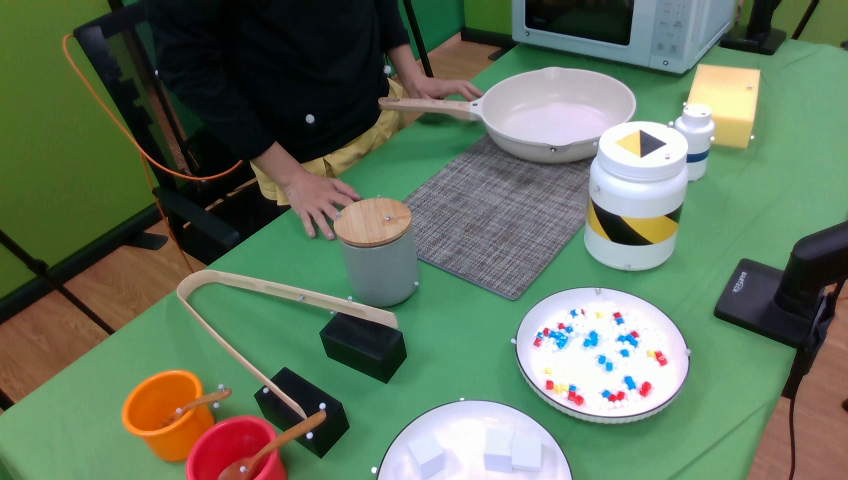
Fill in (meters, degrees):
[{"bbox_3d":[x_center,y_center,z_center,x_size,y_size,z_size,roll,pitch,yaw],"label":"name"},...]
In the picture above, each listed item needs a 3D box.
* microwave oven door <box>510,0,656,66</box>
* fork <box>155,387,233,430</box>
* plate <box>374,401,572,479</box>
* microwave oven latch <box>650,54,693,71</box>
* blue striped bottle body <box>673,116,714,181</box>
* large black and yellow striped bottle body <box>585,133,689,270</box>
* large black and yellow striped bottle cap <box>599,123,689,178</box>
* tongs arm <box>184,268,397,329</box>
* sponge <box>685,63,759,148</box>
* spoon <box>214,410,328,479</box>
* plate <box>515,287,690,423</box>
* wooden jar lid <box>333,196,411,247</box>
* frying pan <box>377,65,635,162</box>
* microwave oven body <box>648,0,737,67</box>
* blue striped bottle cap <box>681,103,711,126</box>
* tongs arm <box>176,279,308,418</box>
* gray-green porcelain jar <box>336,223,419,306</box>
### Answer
[{"bbox_3d":[0.350,-0.539,1.349,0.353,0.245,0.039,24,50,31],"label":"microwave oven door"},{"bbox_3d":[-0.264,0.191,0.688,0.206,0.018,0.028,-33,7,44],"label":"fork"},{"bbox_3d":[0.051,0.268,0.639,0.207,0.039,0.206,-3,40,3],"label":"plate"},{"bbox_3d":[0.531,-0.386,1.301,0.078,0.029,0.030,26,51,33],"label":"microwave oven latch"},{"bbox_3d":[0.451,-0.166,1.023,0.063,0.121,0.063,-4,41,4],"label":"blue striped bottle body"},{"bbox_3d":[0.305,-0.061,0.874,0.131,0.185,0.130,-4,41,4],"label":"large black and yellow striped bottle body"},{"bbox_3d":[0.296,-0.123,0.818,0.115,0.019,0.114,-5,40,4],"label":"large black and yellow striped bottle cap"},{"bbox_3d":[-0.202,0.084,0.848,0.382,0.027,0.051,11,45,35],"label":"tongs arm"},{"bbox_3d":[0.569,-0.263,1.164,0.117,0.061,0.207,12,45,22],"label":"sponge"},{"bbox_3d":[-0.166,0.224,0.639,0.193,0.022,0.041,-40,33,29],"label":"spoon"},{"bbox_3d":[0.220,0.144,0.760,0.209,0.038,0.208,-4,40,4],"label":"plate"},{"bbox_3d":[-0.071,-0.023,0.830,0.108,0.021,0.108,-4,36,3],"label":"wooden jar lid"},{"bbox_3d":[0.150,-0.254,1.176,0.488,0.103,0.306,6,41,3],"label":"frying pan"},{"bbox_3d":[0.475,-0.602,1.411,0.438,0.261,0.327,23,50,32],"label":"microwave oven body"},{"bbox_3d":[0.446,-0.205,0.990,0.044,0.021,0.044,-5,43,5],"label":"blue striped bottle cap"},{"bbox_3d":[-0.255,0.133,0.801,0.028,0.028,0.384,-41,40,-23],"label":"tongs arm"},{"bbox_3d":[-0.064,0.024,0.872,0.106,0.127,0.105,-4,41,4],"label":"gray-green porcelain jar"}]
